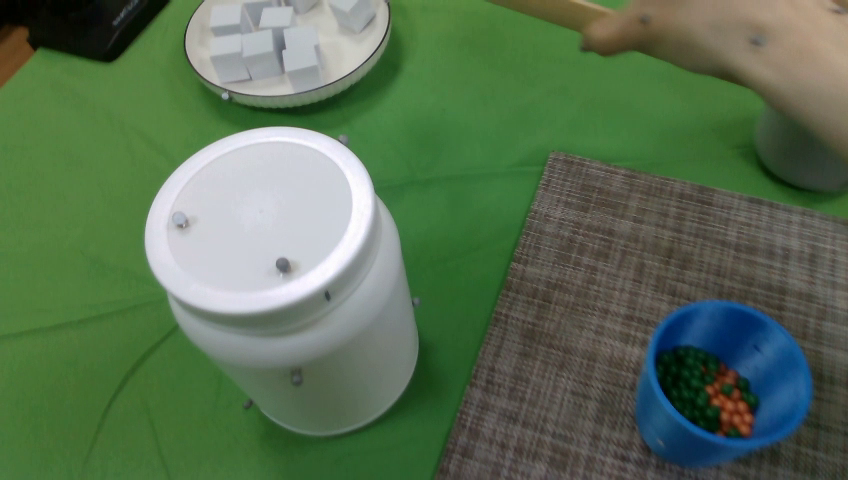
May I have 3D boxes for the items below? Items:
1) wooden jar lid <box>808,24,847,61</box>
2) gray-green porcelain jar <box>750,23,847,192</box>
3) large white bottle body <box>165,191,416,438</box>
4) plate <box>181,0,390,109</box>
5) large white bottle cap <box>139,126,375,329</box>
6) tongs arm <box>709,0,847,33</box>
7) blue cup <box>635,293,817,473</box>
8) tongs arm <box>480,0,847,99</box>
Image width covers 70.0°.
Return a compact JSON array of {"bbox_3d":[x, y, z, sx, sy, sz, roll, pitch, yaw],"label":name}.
[{"bbox_3d":[0.321,-0.141,0.417,0.108,0.021,0.107,-1,55,2],"label":"wooden jar lid"},{"bbox_3d":[0.325,-0.108,0.470,0.106,0.127,0.105,-2,58,4],"label":"gray-green porcelain jar"},{"bbox_3d":[-0.076,0.036,0.375,0.130,0.186,0.129,-2,58,3],"label":"large white bottle body"},{"bbox_3d":[-0.136,-0.207,0.617,0.207,0.039,0.205,-2,58,3],"label":"plate"},{"bbox_3d":[-0.082,-0.010,0.303,0.115,0.018,0.114,-2,58,3],"label":"large white bottle cap"},{"bbox_3d":[0.096,-0.181,0.394,0.384,0.028,0.028,26,65,26],"label":"tongs arm"},{"bbox_3d":[0.168,0.097,0.363,0.092,0.101,0.092,-3,57,5],"label":"blue cup"},{"bbox_3d":[0.084,-0.163,0.387,0.381,0.027,0.050,31,71,28],"label":"tongs arm"}]
